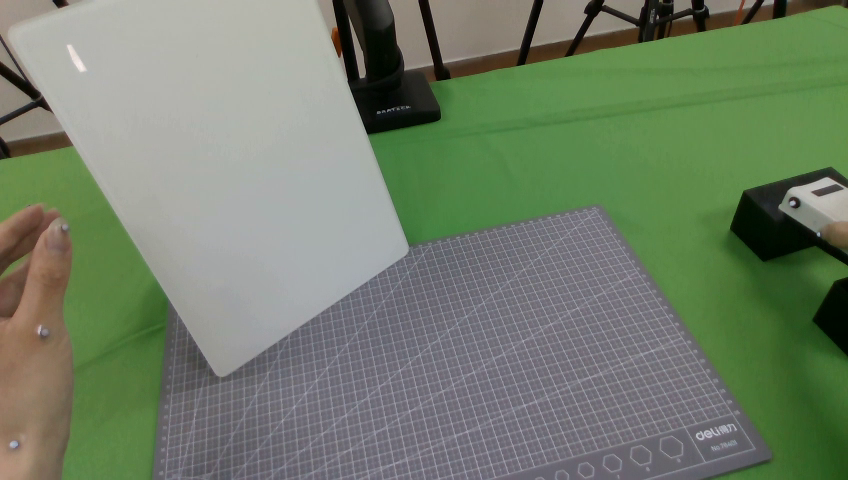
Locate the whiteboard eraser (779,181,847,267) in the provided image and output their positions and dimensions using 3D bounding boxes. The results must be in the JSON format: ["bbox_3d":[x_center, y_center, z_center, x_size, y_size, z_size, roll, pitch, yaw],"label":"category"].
[{"bbox_3d":[0.360,-0.005,0.503,0.056,0.042,0.111,-19,41,-14],"label":"whiteboard eraser"}]

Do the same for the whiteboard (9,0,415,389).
[{"bbox_3d":[-0.175,-0.068,0.549,0.217,0.308,0.142,-34,29,-25],"label":"whiteboard"}]
